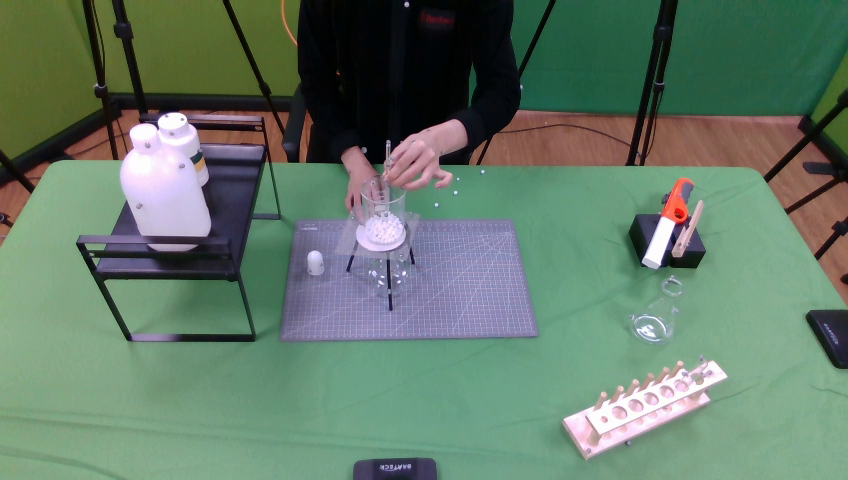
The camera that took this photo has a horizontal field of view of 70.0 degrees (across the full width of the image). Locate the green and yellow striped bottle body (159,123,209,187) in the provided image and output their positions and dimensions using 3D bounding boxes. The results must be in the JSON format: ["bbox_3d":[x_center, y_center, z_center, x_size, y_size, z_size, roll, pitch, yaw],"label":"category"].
[{"bbox_3d":[-0.395,-0.145,0.989,0.063,0.120,0.063,2,46,-2],"label":"green and yellow striped bottle body"}]

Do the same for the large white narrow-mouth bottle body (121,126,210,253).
[{"bbox_3d":[-0.378,-0.077,0.875,0.102,0.195,0.101,3,46,-3],"label":"large white narrow-mouth bottle body"}]

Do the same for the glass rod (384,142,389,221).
[{"bbox_3d":[-0.059,-0.088,0.962,0.008,0.200,0.008,2,58,-3],"label":"glass rod"}]

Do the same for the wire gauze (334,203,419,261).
[{"bbox_3d":[-0.079,-0.013,1.031,0.121,0.011,0.124,8,48,7],"label":"wire gauze"}]

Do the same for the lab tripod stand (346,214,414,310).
[{"bbox_3d":[-0.075,0.030,1.082,0.148,0.132,0.147,1,47,-1],"label":"lab tripod stand"}]

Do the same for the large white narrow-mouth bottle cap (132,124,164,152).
[{"bbox_3d":[-0.371,-0.137,0.813,0.038,0.024,0.037,3,46,-3],"label":"large white narrow-mouth bottle cap"}]

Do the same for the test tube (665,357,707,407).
[{"bbox_3d":[0.386,0.215,0.905,0.017,0.151,0.017,1,52,-1],"label":"test tube"}]

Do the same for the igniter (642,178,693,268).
[{"bbox_3d":[0.488,-0.042,1.205,0.057,0.025,0.276,30,51,11],"label":"igniter"}]

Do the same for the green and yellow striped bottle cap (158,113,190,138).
[{"bbox_3d":[-0.393,-0.180,0.951,0.045,0.020,0.045,2,44,-2],"label":"green and yellow striped bottle cap"}]

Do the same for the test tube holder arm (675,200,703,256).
[{"bbox_3d":[0.523,-0.025,1.190,0.013,0.015,0.178,1,36,41],"label":"test tube holder arm"}]

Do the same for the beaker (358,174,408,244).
[{"bbox_3d":[-0.066,-0.050,1.001,0.084,0.101,0.073,-18,49,-20],"label":"beaker"}]

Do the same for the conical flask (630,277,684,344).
[{"bbox_3d":[0.408,0.117,1.045,0.075,0.122,0.075,2,46,-2],"label":"conical flask"}]

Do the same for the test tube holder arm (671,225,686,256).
[{"bbox_3d":[0.494,0.001,1.167,0.010,0.015,0.087,1,36,42],"label":"test tube holder arm"}]

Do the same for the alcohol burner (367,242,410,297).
[{"bbox_3d":[-0.064,0.047,1.080,0.078,0.120,0.077,1,47,-1],"label":"alcohol burner"}]

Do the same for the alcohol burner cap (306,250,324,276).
[{"bbox_3d":[-0.204,0.040,1.125,0.034,0.048,0.033,2,46,-2],"label":"alcohol burner cap"}]

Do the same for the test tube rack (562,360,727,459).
[{"bbox_3d":[0.341,0.247,0.940,0.243,0.085,0.066,-16,49,-18],"label":"test tube rack"}]
